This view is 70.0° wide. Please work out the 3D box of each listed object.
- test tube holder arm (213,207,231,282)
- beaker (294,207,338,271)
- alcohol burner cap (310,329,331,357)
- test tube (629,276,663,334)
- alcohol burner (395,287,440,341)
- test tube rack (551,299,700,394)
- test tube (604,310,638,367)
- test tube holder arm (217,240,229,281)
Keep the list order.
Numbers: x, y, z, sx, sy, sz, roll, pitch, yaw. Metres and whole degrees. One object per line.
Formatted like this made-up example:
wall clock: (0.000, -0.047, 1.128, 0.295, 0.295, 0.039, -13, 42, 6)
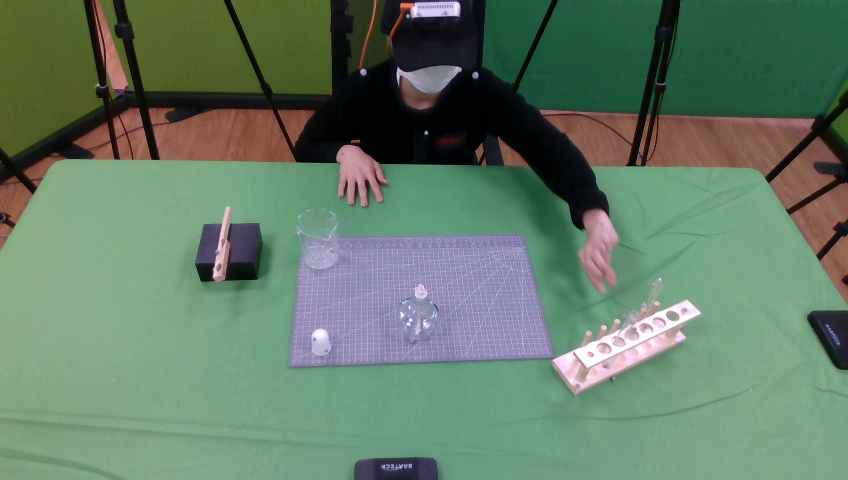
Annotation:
test tube holder arm: (-0.366, 0.004, 1.101, 0.013, 0.015, 0.177, -10, 46, -1)
beaker: (-0.196, 0.003, 1.122, 0.074, 0.101, 0.083, -23, 52, -24)
alcohol burner cap: (-0.173, 0.168, 1.005, 0.034, 0.048, 0.033, 2, 46, -2)
test tube: (0.370, 0.111, 1.014, 0.017, 0.151, 0.017, 1, 48, -1)
alcohol burner: (-0.010, 0.116, 1.018, 0.078, 0.119, 0.077, 3, 47, -3)
test tube rack: (0.339, 0.166, 1.021, 0.242, 0.085, 0.066, -19, 50, -21)
test tube: (0.310, 0.158, 0.957, 0.017, 0.151, 0.017, 1, 49, -1)
test tube holder arm: (-0.354, 0.035, 1.070, 0.010, 0.015, 0.087, -10, 46, -1)
